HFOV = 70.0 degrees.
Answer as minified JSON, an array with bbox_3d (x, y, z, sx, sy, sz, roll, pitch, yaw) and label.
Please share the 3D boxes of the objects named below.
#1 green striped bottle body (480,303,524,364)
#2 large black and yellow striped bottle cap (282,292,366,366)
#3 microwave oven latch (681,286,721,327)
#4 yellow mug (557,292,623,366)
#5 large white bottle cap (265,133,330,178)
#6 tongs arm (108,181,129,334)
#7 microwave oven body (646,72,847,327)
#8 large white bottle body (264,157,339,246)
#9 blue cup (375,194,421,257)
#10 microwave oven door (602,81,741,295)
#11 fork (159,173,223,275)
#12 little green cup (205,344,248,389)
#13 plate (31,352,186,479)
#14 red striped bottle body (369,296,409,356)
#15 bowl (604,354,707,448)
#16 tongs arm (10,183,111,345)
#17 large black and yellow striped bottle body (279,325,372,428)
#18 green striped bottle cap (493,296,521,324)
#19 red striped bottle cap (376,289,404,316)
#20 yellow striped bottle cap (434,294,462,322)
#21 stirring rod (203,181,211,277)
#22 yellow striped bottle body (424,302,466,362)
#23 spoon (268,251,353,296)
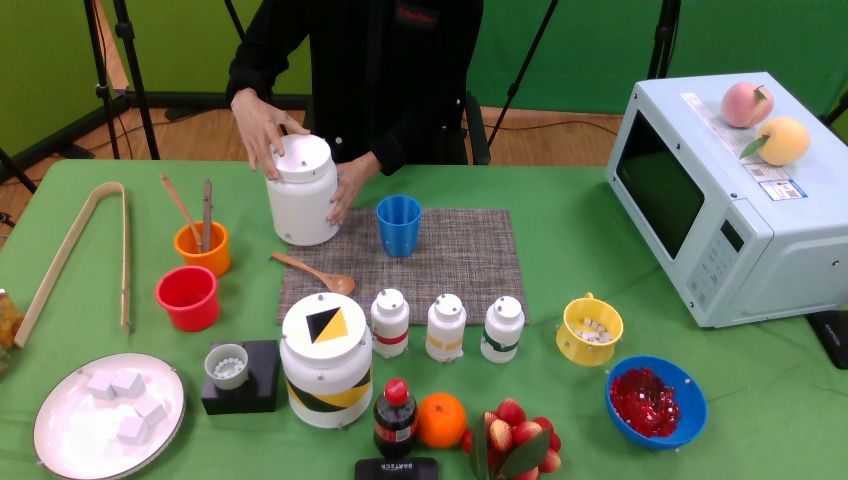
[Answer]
[{"bbox_3d":[0.129,0.147,1.000,0.063,0.120,0.063,2,46,-2],"label":"green striped bottle body"},{"bbox_3d":[-0.138,0.121,0.841,0.115,0.019,0.114,3,47,-3],"label":"large black and yellow striped bottle cap"},{"bbox_3d":[0.494,0.119,1.086,0.030,0.029,0.078,-5,46,-9],"label":"microwave oven latch"},{"bbox_3d":[0.285,0.145,1.051,0.100,0.064,0.130,7,46,4],"label":"yellow mug"},{"bbox_3d":[-0.227,-0.153,1.089,0.115,0.018,0.114,3,46,-2],"label":"large white bottle cap"},{"bbox_3d":[-0.571,0.019,1.123,0.051,0.026,0.382,-11,47,-12],"label":"tongs arm"},{"bbox_3d":[0.607,-0.089,1.164,0.326,0.261,0.438,-7,46,-10],"label":"microwave oven body"},{"bbox_3d":[-0.231,-0.093,1.150,0.131,0.185,0.130,2,46,-2],"label":"large white bottle body"},{"bbox_3d":[-0.050,-0.022,1.155,0.093,0.101,0.092,1,46,-1],"label":"blue cup"},{"bbox_3d":[0.456,-0.107,1.162,0.039,0.245,0.353,-7,47,-11],"label":"microwave oven door"},{"bbox_3d":[-0.427,-0.029,1.104,0.028,0.018,0.207,-31,99,-29],"label":"fork"},{"bbox_3d":[-0.294,0.191,0.909,0.061,0.039,0.061,2,47,-1],"label":"little green cup"},{"bbox_3d":[-0.459,0.262,0.898,0.209,0.038,0.208,2,46,-2],"label":"plate"},{"bbox_3d":[-0.059,0.134,0.997,0.063,0.120,0.062,5,48,-5],"label":"red striped bottle body"},{"bbox_3d":[0.346,0.261,0.937,0.151,0.077,0.150,2,46,-2],"label":"bowl"},{"bbox_3d":[-0.658,0.027,1.109,0.028,0.028,0.385,-2,45,2],"label":"tongs arm"},{"bbox_3d":[-0.143,0.181,0.900,0.131,0.185,0.130,2,46,-2],"label":"large black and yellow striped bottle body"},{"bbox_3d":[0.133,0.111,0.962,0.044,0.020,0.044,2,47,-2],"label":"green striped bottle cap"},{"bbox_3d":[-0.054,0.098,0.958,0.044,0.018,0.044,0,48,1],"label":"red striped bottle cap"},{"bbox_3d":[0.038,0.107,0.958,0.044,0.019,0.044,2,44,-2],"label":"yellow striped bottle cap"},{"bbox_3d":[-0.396,-0.021,1.107,0.014,0.006,0.176,-1,89,-2],"label":"stirring rod"},{"bbox_3d":[0.035,0.143,0.995,0.063,0.121,0.062,3,46,-3],"label":"yellow striped bottle body"},{"bbox_3d":[-0.212,0.057,1.121,0.193,0.022,0.041,24,74,18],"label":"spoon"}]
